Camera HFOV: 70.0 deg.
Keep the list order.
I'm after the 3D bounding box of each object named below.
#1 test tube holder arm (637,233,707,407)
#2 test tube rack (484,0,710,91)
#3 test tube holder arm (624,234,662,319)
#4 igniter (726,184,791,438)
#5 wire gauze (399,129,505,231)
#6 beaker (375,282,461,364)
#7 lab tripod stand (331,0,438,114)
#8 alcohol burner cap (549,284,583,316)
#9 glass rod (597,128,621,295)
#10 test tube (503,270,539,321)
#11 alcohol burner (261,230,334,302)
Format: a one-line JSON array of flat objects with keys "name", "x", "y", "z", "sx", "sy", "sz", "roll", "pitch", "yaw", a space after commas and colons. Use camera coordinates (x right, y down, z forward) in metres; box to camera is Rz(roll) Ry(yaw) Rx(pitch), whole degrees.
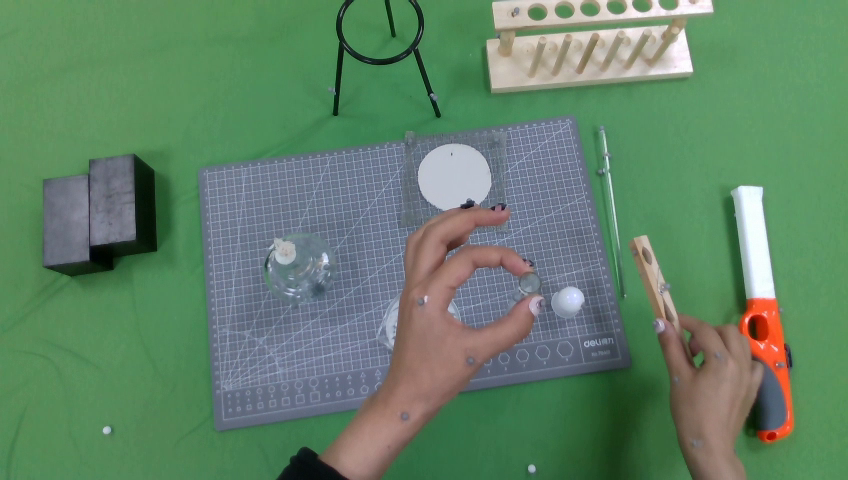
[{"name": "test tube holder arm", "x": 0.242, "y": 0.077, "z": 0.602, "sx": 0.013, "sy": 0.015, "sz": 0.177, "roll": -14, "pitch": 73, "yaw": -9}, {"name": "test tube rack", "x": 0.196, "y": -0.233, "z": 0.705, "sx": 0.242, "sy": 0.085, "sz": 0.066, "roll": -5, "pitch": 76, "yaw": -1}, {"name": "test tube holder arm", "x": 0.224, "y": 0.037, "z": 0.614, "sx": 0.010, "sy": 0.015, "sz": 0.087, "roll": -13, "pitch": 73, "yaw": -9}, {"name": "igniter", "x": 0.363, "y": 0.072, "z": 0.661, "sx": 0.057, "sy": 0.025, "sz": 0.275, "roll": 2, "pitch": 76, "yaw": -9}, {"name": "wire gauze", "x": 0.034, "y": -0.073, "z": 0.705, "sx": 0.125, "sy": 0.011, "sz": 0.121, "roll": 3, "pitch": 77, "yaw": 0}, {"name": "beaker", "x": -0.005, "y": 0.090, "z": 0.619, "sx": 0.084, "sy": 0.101, "sz": 0.073, "roll": -16, "pitch": 76, "yaw": -3}, {"name": "lab tripod stand", "x": -0.048, "y": -0.203, "z": 0.675, "sx": 0.148, "sy": 0.132, "sz": 0.147, "roll": 0, "pitch": 78, "yaw": 1}, {"name": "alcohol burner cap", "x": 0.155, "y": 0.063, "z": 0.654, "sx": 0.034, "sy": 0.048, "sz": 0.033, "roll": 0, "pitch": 76, "yaw": 0}, {"name": "glass rod", "x": 0.213, "y": -0.035, "z": 0.696, "sx": 0.008, "sy": 0.008, "sz": 0.199, "roll": -3, "pitch": 79, "yaw": -1}, {"name": "test tube", "x": 0.074, "y": 0.047, "z": 0.470, "sx": 0.017, "sy": 0.151, "sz": 0.017, "roll": -1, "pitch": 75, "yaw": 3}, {"name": "alcohol burner", "x": -0.135, "y": 0.023, "z": 0.628, "sx": 0.078, "sy": 0.120, "sz": 0.077, "roll": -1, "pitch": 75, "yaw": 3}]
